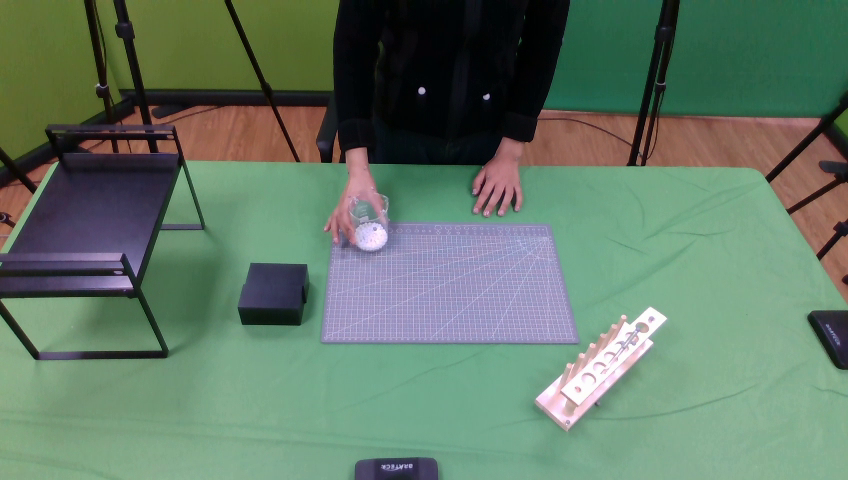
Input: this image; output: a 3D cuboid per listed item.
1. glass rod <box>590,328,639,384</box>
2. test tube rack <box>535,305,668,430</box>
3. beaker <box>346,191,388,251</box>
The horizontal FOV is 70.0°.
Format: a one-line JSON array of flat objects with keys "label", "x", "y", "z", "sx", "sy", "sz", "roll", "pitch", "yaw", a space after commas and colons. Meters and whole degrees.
[{"label": "glass rod", "x": 0.279, "y": 0.182, "z": 0.902, "sx": 0.008, "sy": 0.200, "sz": 0.008, "roll": 4, "pitch": 52, "yaw": -6}, {"label": "test tube rack", "x": 0.290, "y": 0.193, "z": 0.984, "sx": 0.242, "sy": 0.085, "sz": 0.066, "roll": -32, "pitch": 56, "yaw": -30}, {"label": "beaker", "x": -0.103, "y": -0.034, "z": 1.151, "sx": 0.084, "sy": 0.101, "sz": 0.073, "roll": -30, "pitch": 58, "yaw": -23}]
